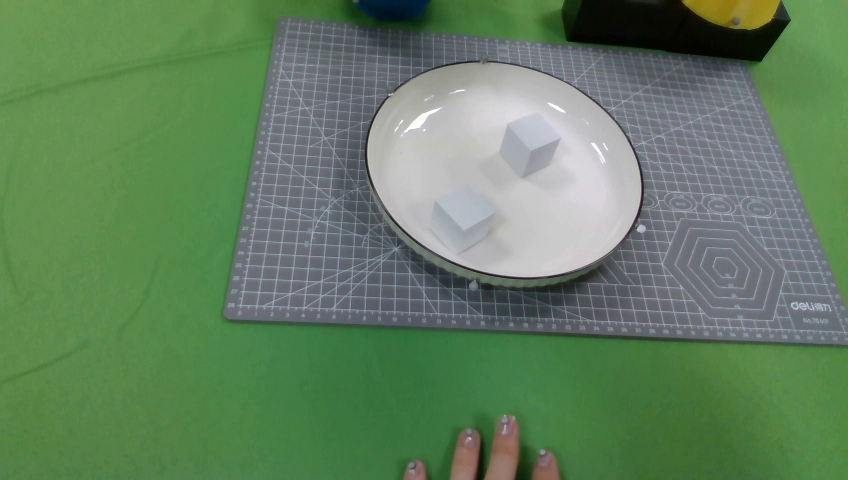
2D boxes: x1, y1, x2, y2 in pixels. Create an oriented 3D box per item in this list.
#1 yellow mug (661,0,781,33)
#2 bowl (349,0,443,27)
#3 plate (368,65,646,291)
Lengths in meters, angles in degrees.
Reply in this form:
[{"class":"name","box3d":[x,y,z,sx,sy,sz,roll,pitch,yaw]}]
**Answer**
[{"class":"yellow mug","box3d":[0.268,-0.241,0.542,0.131,0.064,0.099,-11,59,-13]},{"class":"bowl","box3d":[-0.029,-0.253,0.557,0.151,0.077,0.150,3,57,-5]},{"class":"plate","box3d":[0.061,-0.049,0.461,0.208,0.039,0.205,4,57,-6]}]
